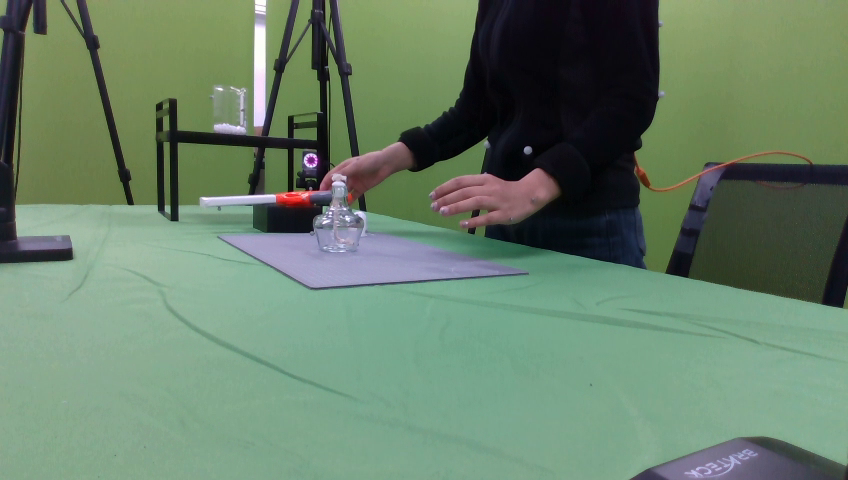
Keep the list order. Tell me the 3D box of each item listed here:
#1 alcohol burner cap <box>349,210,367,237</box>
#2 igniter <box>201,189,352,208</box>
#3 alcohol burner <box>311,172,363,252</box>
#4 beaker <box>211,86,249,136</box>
[{"bbox_3d":[-0.118,-0.030,1.095,0.034,0.048,0.034,2,8,0],"label":"alcohol burner cap"},{"bbox_3d":[-0.271,-0.078,1.139,0.278,0.025,0.057,-5,11,-28],"label":"igniter"},{"bbox_3d":[-0.130,-0.042,0.906,0.078,0.119,0.078,2,6,0],"label":"alcohol burner"},{"bbox_3d":[-0.413,-0.274,1.297,0.074,0.100,0.083,-5,11,-44],"label":"beaker"}]
